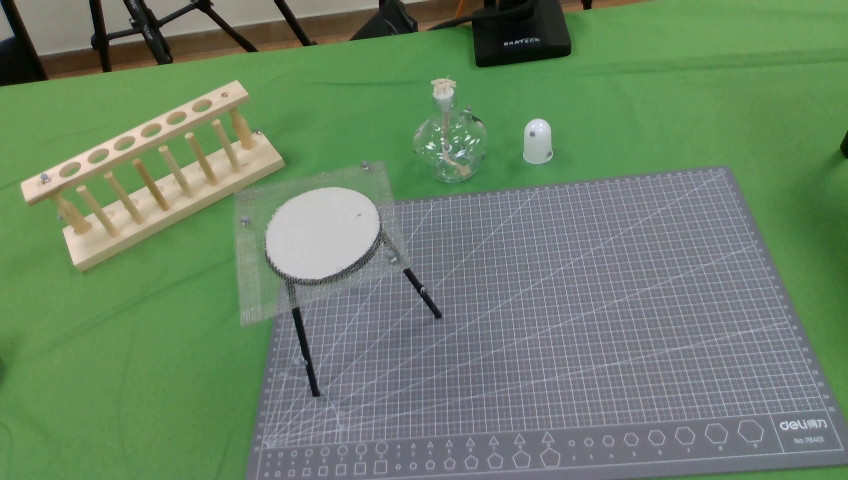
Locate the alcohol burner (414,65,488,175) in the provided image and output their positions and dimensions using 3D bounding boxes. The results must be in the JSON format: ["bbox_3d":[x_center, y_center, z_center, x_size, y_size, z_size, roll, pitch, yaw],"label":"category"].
[{"bbox_3d":[0.025,-0.125,0.619,0.078,0.120,0.077,-5,49,6],"label":"alcohol burner"}]

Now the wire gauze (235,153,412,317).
[{"bbox_3d":[-0.078,-0.012,0.443,0.121,0.011,0.123,-15,52,-2],"label":"wire gauze"}]

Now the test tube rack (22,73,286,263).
[{"bbox_3d":[-0.283,-0.080,0.656,0.242,0.086,0.066,-31,53,-14],"label":"test tube rack"}]

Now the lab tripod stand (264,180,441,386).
[{"bbox_3d":[-0.066,0.031,0.494,0.148,0.133,0.147,-4,53,6],"label":"lab tripod stand"}]

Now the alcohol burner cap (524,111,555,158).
[{"bbox_3d":[0.122,-0.114,0.640,0.034,0.048,0.033,-6,51,8],"label":"alcohol burner cap"}]
